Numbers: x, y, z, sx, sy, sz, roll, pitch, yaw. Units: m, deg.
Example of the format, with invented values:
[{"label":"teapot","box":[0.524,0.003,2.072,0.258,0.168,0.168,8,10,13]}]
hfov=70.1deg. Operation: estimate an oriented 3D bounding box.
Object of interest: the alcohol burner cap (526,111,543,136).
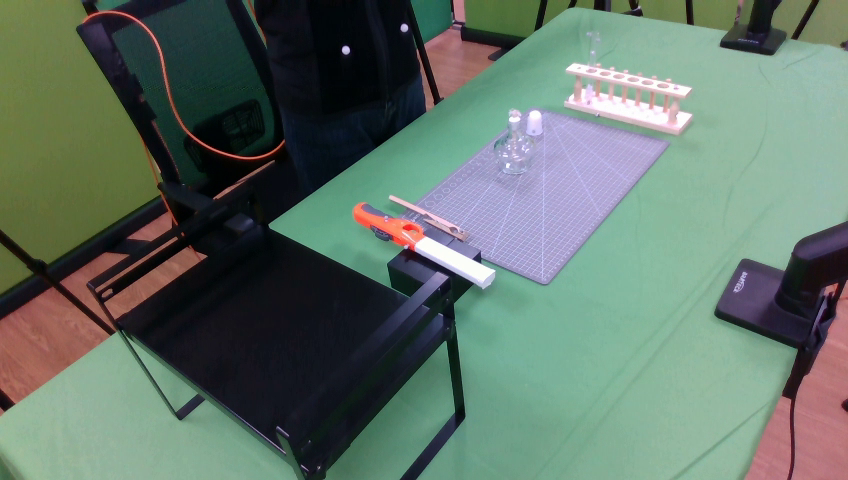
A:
[{"label":"alcohol burner cap","box":[0.219,-0.232,1.196,0.034,0.048,0.033,-4,41,4]}]

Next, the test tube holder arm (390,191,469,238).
[{"label":"test tube holder arm","box":[0.006,-0.044,1.019,0.177,0.015,0.013,32,84,36]}]

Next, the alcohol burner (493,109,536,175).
[{"label":"alcohol burner","box":[0.163,-0.179,1.087,0.078,0.119,0.077,-5,39,5]}]

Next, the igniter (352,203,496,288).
[{"label":"igniter","box":[-0.011,0.002,0.899,0.274,0.025,0.057,27,45,33]}]

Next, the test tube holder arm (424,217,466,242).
[{"label":"test tube holder arm","box":[0.033,-0.020,0.992,0.087,0.015,0.010,32,84,36]}]

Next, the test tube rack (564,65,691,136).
[{"label":"test tube rack","box":[0.404,-0.288,1.204,0.240,0.085,0.067,24,49,32]}]

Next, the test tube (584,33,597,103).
[{"label":"test tube","box":[0.330,-0.338,1.199,0.017,0.151,0.017,-5,45,5]}]
